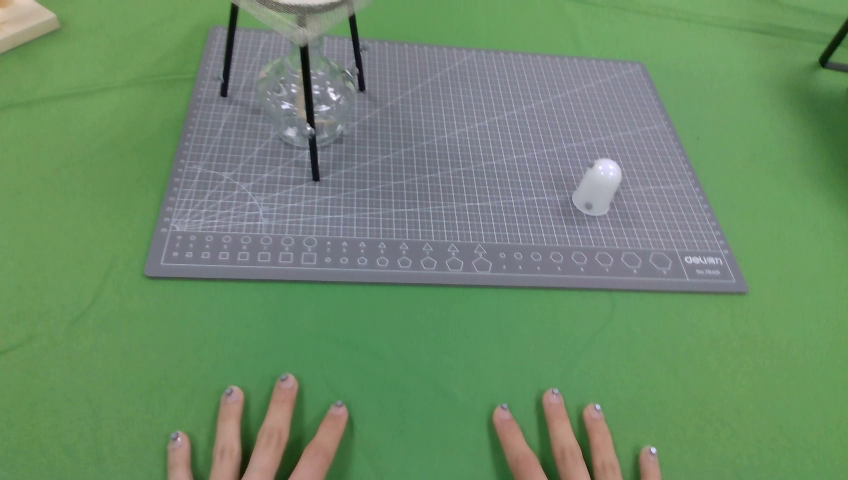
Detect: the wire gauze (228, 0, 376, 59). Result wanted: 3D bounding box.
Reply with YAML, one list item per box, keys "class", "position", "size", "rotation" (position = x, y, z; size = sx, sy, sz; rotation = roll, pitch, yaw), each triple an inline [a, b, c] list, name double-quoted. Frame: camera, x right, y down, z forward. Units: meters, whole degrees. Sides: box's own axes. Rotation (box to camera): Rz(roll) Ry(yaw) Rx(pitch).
- class: "wire gauze"
  position: [-0.089, -0.187, 0.423]
  size: [0.124, 0.011, 0.121]
  rotation: [36, 57, 12]

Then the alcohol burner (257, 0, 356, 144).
- class: "alcohol burner"
  position: [-0.092, -0.135, 0.478]
  size: [0.078, 0.120, 0.077]
  rotation: [6, 50, -7]

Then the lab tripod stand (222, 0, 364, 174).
- class: "lab tripod stand"
  position: [-0.096, -0.147, 0.474]
  size: [0.149, 0.132, 0.147]
  rotation: [6, 52, -8]

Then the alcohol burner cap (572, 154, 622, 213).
- class: "alcohol burner cap"
  position: [0.144, -0.048, 0.498]
  size: [0.034, 0.048, 0.033]
  rotation: [5, 51, -6]

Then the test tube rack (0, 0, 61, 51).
- class: "test tube rack"
  position: [-0.425, -0.171, 0.467]
  size: [0.066, 0.086, 0.242]
  rotation: [33, 54, 16]
